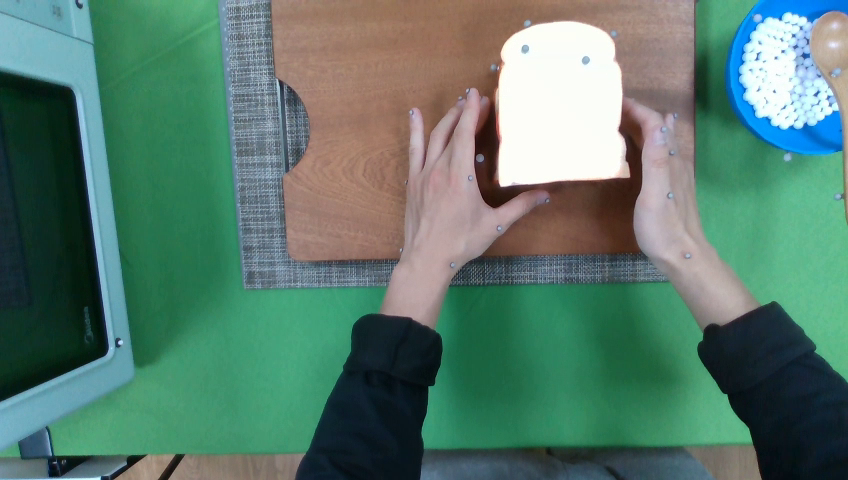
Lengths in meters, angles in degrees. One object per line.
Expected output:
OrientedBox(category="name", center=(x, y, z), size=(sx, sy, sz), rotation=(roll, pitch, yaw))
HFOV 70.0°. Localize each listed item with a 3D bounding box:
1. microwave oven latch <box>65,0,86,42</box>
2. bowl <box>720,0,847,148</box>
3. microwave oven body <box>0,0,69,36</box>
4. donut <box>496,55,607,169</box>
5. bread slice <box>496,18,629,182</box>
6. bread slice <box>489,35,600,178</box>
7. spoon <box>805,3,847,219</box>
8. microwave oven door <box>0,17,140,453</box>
OrientedBox(category="microwave oven latch", center=(-0.362, -0.240, 0.604), size=(0.030, 0.029, 0.079), rotation=(-4, 97, 6))
OrientedBox(category="bowl", center=(0.333, -0.156, 0.541), size=(0.151, 0.077, 0.151), rotation=(1, 97, 6))
OrientedBox(category="microwave oven body", center=(-0.503, -0.044, 0.544), size=(0.326, 0.260, 0.442), rotation=(-5, 96, 6))
OrientedBox(category="donut", center=(0.113, -0.113, 0.538), size=(0.099, 0.048, 0.099), rotation=(1, 98, 5))
OrientedBox(category="bread slice", center=(0.109, -0.117, 0.509), size=(0.107, 0.018, 0.134), rotation=(-7, 89, 7))
OrientedBox(category="bread slice", center=(0.111, -0.124, 0.569), size=(0.105, 0.019, 0.132), rotation=(-2, 97, 5))
OrientedBox(category="spoon", center=(0.352, -0.110, 0.512), size=(0.041, 0.022, 0.192), rotation=(2, 76, -2))
OrientedBox(category="microwave oven door", center=(-0.355, -0.013, 0.527), size=(0.039, 0.243, 0.356), rotation=(-5, 96, 7))
